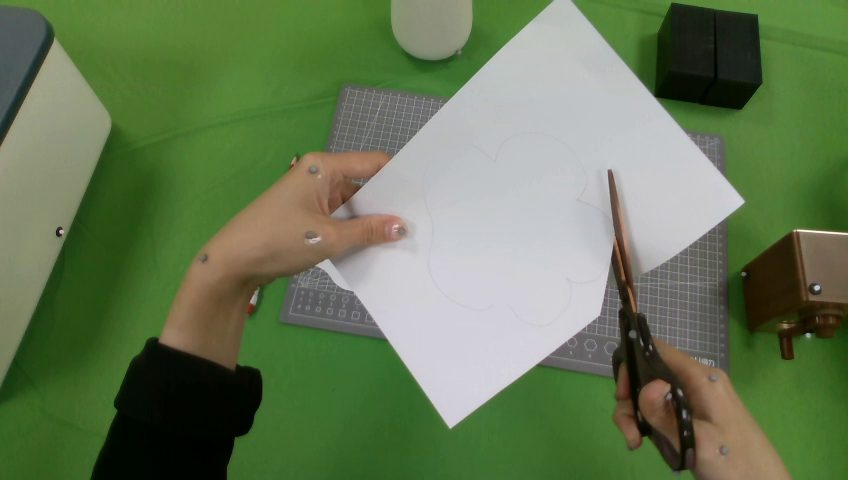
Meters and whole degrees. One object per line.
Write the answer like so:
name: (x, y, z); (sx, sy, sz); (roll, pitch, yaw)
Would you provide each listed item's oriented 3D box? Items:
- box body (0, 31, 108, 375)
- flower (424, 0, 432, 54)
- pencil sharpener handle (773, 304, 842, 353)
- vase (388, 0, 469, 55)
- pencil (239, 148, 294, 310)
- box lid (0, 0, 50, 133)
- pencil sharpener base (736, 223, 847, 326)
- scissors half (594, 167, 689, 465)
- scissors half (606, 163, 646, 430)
box body: (-0.501, -0.041, 0.576); (0.254, 0.161, 0.361); (9, 68, 3)
flower: (-0.001, -0.343, 0.591); (0.044, 0.365, 0.038); (2, 50, 5)
pencil sharpener handle: (0.345, 0.082, 0.548); (0.036, 0.068, 0.030); (10, 68, -11)
vase: (0.004, -0.299, 0.663); (0.098, 0.201, 0.097); (0, 66, 1)
pencil: (-0.166, -0.018, 0.652); (0.012, 0.012, 0.193); (10, 67, 4)
box lid: (-0.501, -0.072, 0.507); (0.263, 0.015, 0.369); (9, 68, 3)
pencil sharpener base: (0.354, 0.040, 0.578); (0.061, 0.108, 0.076); (4, 68, 2)
scissors half: (0.122, 0.040, 0.348); (0.013, 0.040, 0.174); (-11, 78, -5)
scissors half: (0.121, 0.038, 0.372); (0.013, 0.039, 0.176); (-11, 110, 0)
